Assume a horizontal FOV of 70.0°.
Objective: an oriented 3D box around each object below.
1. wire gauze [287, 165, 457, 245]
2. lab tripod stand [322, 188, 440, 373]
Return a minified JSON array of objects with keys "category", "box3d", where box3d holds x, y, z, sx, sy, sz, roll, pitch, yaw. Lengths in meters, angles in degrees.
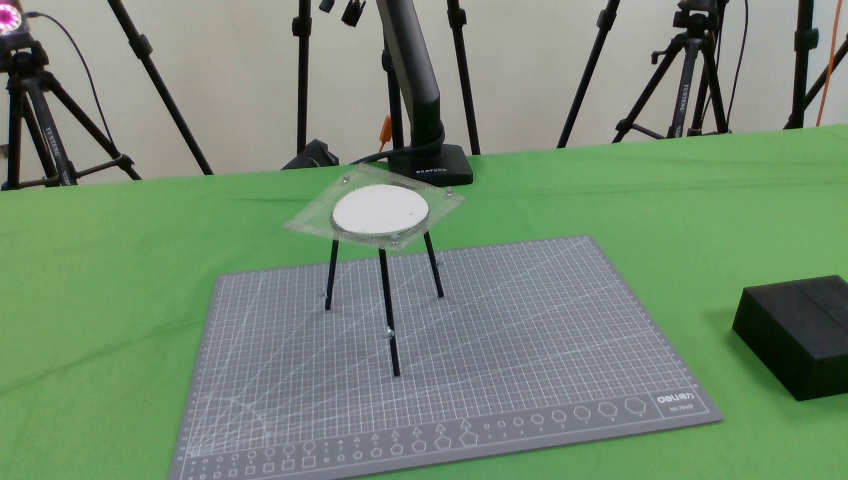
[{"category":"wire gauze","box3d":[-0.039,-0.037,0.529,0.125,0.011,0.120,11,30,5]},{"category":"lab tripod stand","box3d":[-0.039,0.030,0.578,0.148,0.132,0.147,0,33,0]}]
